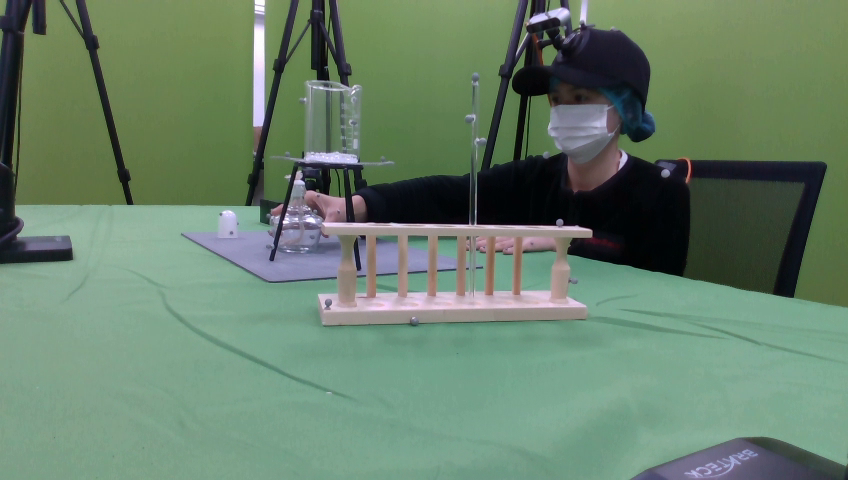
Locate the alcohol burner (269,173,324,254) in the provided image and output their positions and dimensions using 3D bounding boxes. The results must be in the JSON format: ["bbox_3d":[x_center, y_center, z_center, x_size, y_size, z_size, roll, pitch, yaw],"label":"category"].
[{"bbox_3d":[-0.185,-0.039,0.879,0.078,0.119,0.078,1,8,0],"label":"alcohol burner"}]

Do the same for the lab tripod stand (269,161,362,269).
[{"bbox_3d":[-0.125,-0.036,0.793,0.148,0.131,0.148,5,7,0],"label":"lab tripod stand"}]

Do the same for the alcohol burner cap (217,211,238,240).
[{"bbox_3d":[-0.323,-0.024,0.994,0.034,0.048,0.034,3,8,0],"label":"alcohol burner cap"}]

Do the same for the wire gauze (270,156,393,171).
[{"bbox_3d":[-0.122,-0.100,0.786,0.122,0.011,0.124,-5,14,-38],"label":"wire gauze"}]

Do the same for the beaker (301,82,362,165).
[{"bbox_3d":[-0.117,-0.147,0.776,0.074,0.100,0.083,-3,10,-38],"label":"beaker"}]

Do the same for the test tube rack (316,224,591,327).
[{"bbox_3d":[0.026,0.028,0.555,0.243,0.085,0.066,1,7,-14],"label":"test tube rack"}]

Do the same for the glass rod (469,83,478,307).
[{"bbox_3d":[0.043,-0.033,0.523,0.008,0.199,0.008,-1,14,1],"label":"glass rod"}]
